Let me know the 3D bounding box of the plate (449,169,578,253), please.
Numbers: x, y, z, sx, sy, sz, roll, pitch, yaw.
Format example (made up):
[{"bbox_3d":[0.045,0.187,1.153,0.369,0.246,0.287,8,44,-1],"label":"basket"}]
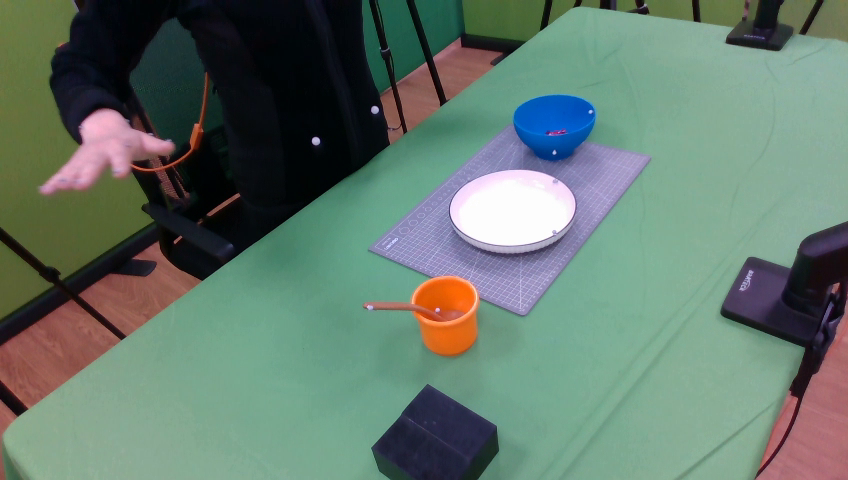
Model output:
[{"bbox_3d":[0.146,-0.044,0.993,0.209,0.038,0.208,-5,40,5],"label":"plate"}]

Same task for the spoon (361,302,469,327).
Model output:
[{"bbox_3d":[-0.008,0.092,0.779,0.041,0.195,0.021,33,99,42],"label":"spoon"}]

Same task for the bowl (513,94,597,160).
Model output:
[{"bbox_3d":[0.244,-0.202,1.130,0.151,0.077,0.150,-6,40,5],"label":"bowl"}]
